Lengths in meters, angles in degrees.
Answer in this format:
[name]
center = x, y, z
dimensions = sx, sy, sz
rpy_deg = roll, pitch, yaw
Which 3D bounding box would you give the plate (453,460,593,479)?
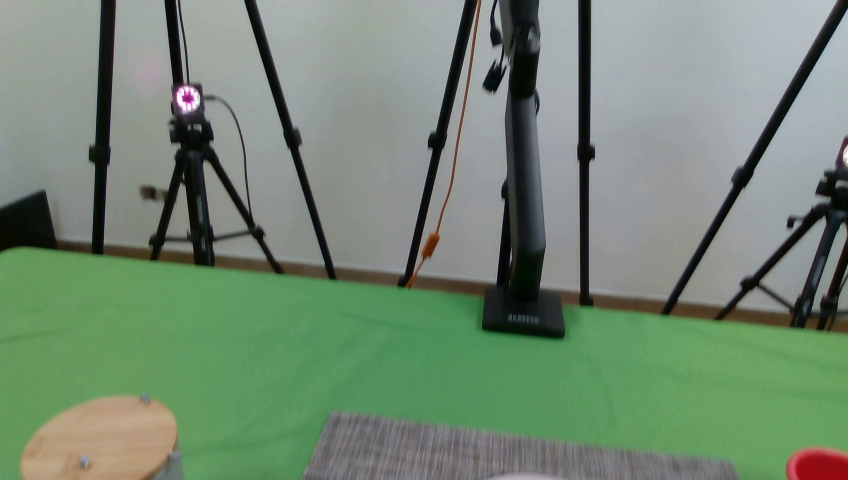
[plate]
center = 0.095, 0.275, 0.507
dimensions = 0.208, 0.039, 0.206
rpy_deg = 3, 26, -1

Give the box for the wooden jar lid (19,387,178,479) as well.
[wooden jar lid]
center = -0.248, 0.156, 0.469
dimensions = 0.108, 0.021, 0.107
rpy_deg = 5, 25, -2

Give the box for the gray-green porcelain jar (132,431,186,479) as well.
[gray-green porcelain jar]
center = -0.251, 0.214, 0.497
dimensions = 0.106, 0.127, 0.105
rpy_deg = 3, 26, -1

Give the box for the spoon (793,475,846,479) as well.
[spoon]
center = 0.412, 0.216, 0.541
dimensions = 0.193, 0.021, 0.041
rpy_deg = -28, 1, 37
